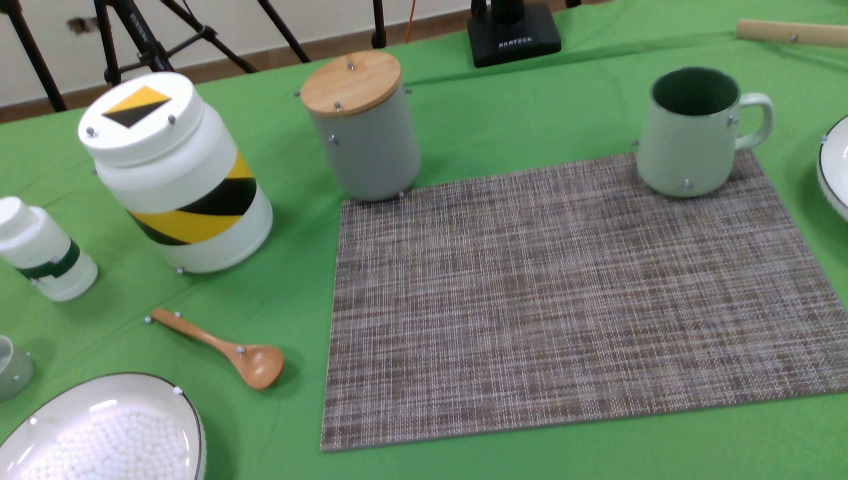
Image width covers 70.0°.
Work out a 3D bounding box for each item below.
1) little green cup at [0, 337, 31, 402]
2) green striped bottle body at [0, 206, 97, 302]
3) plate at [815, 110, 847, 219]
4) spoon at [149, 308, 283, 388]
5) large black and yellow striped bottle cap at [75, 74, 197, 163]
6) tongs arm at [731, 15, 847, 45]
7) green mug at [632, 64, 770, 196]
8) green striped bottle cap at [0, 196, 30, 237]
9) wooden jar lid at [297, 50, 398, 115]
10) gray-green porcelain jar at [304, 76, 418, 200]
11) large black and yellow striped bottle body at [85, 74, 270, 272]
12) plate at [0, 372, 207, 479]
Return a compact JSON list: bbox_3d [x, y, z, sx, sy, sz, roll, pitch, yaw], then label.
[{"bbox_3d":[-0.435,0.133,0.613,0.061,0.039,0.061,-7,48,8],"label":"little green cup"},{"bbox_3d":[-0.420,0.010,0.659,0.063,0.120,0.062,-7,49,9],"label":"green striped bottle body"},{"bbox_3d":[0.472,-0.056,0.552,0.207,0.039,0.205,-7,49,9],"label":"plate"},{"bbox_3d":[-0.210,0.098,0.599,0.192,0.022,0.041,18,76,26],"label":"spoon"},{"bbox_3d":[-0.273,-0.118,0.577,0.115,0.019,0.114,-6,48,8],"label":"large black and yellow striped bottle cap"},{"bbox_3d":[0.529,-0.219,0.644,0.384,0.028,0.028,21,52,38],"label":"tongs arm"},{"bbox_3d":[0.272,-0.109,0.595,0.125,0.106,0.091,-9,49,6],"label":"green mug"},{"bbox_3d":[-0.430,-0.024,0.620,0.044,0.020,0.044,-5,50,7],"label":"green striped bottle cap"},{"bbox_3d":[-0.077,-0.160,0.628,0.108,0.021,0.107,-9,48,10],"label":"wooden jar lid"},{"bbox_3d":[-0.066,-0.116,0.672,0.106,0.128,0.105,-7,45,8],"label":"gray-green porcelain jar"},{"bbox_3d":[-0.256,-0.067,0.641,0.130,0.186,0.129,-7,50,8],"label":"large black and yellow striped bottle body"},{"bbox_3d":[-0.278,0.211,0.509,0.209,0.038,0.207,-7,49,8],"label":"plate"}]
